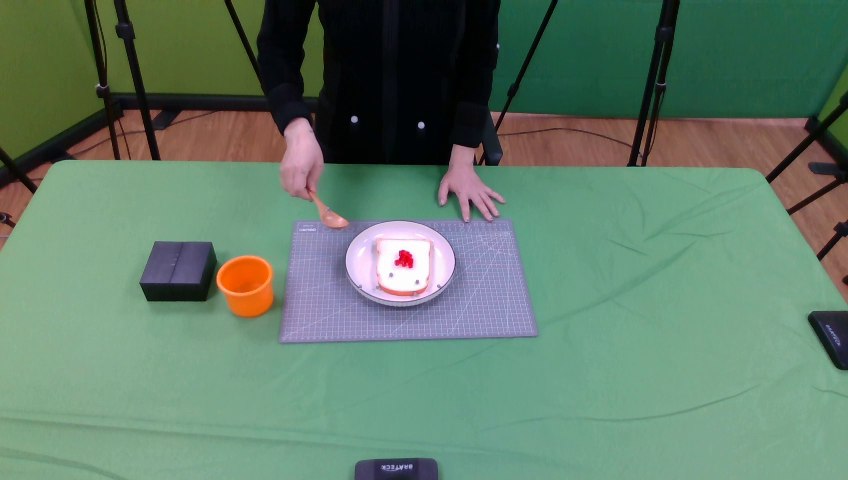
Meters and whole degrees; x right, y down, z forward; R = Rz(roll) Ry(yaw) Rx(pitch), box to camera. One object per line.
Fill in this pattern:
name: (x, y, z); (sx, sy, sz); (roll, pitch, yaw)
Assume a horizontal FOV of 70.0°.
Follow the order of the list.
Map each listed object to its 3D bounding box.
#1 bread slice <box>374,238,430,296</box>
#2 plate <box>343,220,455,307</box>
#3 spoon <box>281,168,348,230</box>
bread slice: (-0.039, 0.048, 1.135); (0.107, 0.018, 0.133); (-1, 46, -4)
plate: (-0.047, 0.046, 1.135); (0.209, 0.038, 0.208); (2, 46, -2)
spoon: (-0.199, -0.076, 1.079); (0.041, 0.022, 0.192); (-23, 56, -36)
